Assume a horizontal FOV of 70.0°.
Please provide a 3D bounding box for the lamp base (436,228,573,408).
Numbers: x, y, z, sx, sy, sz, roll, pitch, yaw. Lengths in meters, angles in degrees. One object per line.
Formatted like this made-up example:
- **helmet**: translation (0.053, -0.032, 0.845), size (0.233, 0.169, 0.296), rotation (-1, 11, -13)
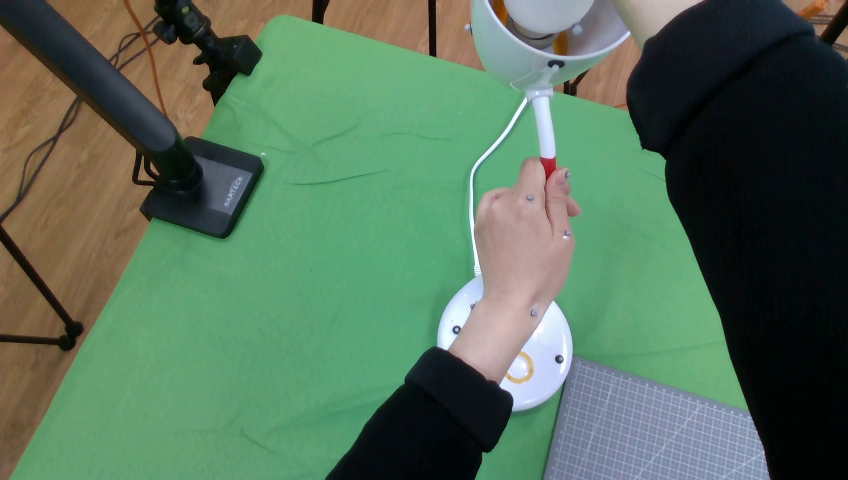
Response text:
- **lamp base**: translation (0.091, 0.075, 0.646), size (0.161, 0.181, 0.177), rotation (-22, 67, -11)

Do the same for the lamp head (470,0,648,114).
- **lamp head**: translation (0.082, -0.153, 0.427), size (0.112, 0.123, 0.112), rotation (1, 77, -5)

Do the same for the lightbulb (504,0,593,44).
- **lightbulb**: translation (0.078, -0.160, 0.402), size (0.059, 0.108, 0.059), rotation (0, 86, -1)
